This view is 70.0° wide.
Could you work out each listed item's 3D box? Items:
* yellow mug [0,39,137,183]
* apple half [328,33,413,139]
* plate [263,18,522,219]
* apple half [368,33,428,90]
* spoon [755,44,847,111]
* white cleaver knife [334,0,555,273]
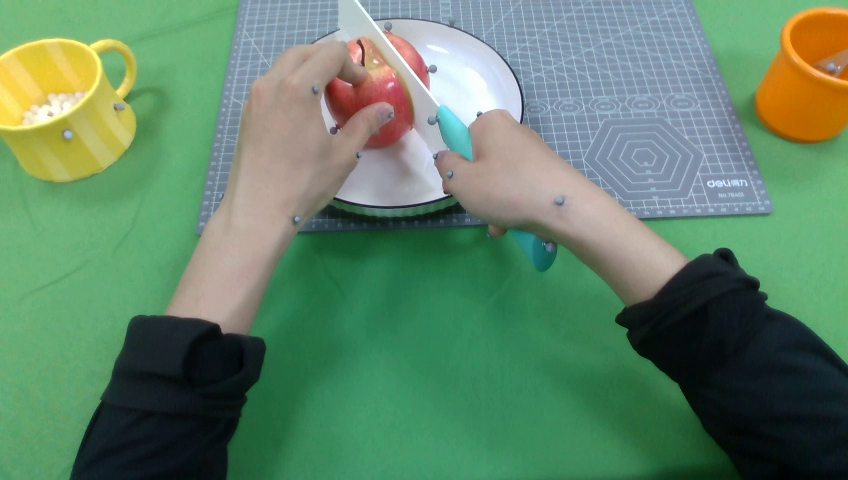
[{"bbox_3d":[-0.292,-0.117,0.503,0.099,0.064,0.130,29,63,17],"label":"yellow mug"},{"bbox_3d":[-0.044,-0.113,0.477,0.053,0.075,0.080,-42,65,-10],"label":"apple half"},{"bbox_3d":[-0.025,-0.101,0.502,0.209,0.038,0.207,0,59,0],"label":"plate"},{"bbox_3d":[-0.016,-0.130,0.490,0.033,0.082,0.080,-30,63,-18],"label":"apple half"},{"bbox_3d":[0.358,-0.162,0.472,0.022,0.194,0.041,23,46,-38],"label":"spoon"},{"bbox_3d":[0.005,-0.089,0.449,0.021,0.066,0.284,-28,67,-15],"label":"white cleaver knife"}]
